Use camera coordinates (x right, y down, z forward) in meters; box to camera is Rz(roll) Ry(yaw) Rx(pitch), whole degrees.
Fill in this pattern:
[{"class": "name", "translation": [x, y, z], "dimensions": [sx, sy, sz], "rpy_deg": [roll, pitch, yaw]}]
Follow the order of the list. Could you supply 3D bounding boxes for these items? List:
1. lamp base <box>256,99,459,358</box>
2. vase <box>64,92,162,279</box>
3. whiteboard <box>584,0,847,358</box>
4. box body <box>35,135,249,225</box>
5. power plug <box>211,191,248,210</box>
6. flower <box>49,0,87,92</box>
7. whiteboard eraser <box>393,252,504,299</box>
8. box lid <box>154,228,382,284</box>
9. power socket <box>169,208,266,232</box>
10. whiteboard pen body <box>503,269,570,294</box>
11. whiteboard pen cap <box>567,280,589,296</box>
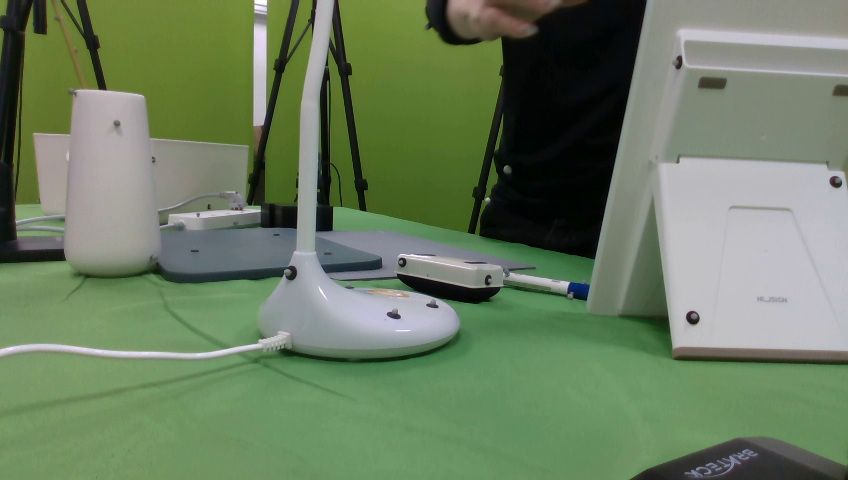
[{"class": "lamp base", "translation": [-0.055, -0.013, 0.463], "dimensions": [0.160, 0.180, 0.180], "rpy_deg": [6, 11, 27]}, {"class": "vase", "translation": [-0.348, -0.060, 0.673], "dimensions": [0.098, 0.200, 0.098], "rpy_deg": [1, 7, 0]}, {"class": "whiteboard", "translation": [0.269, -0.034, 0.466], "dimensions": [0.217, 0.305, 0.143], "rpy_deg": [2, 27, -1]}, {"class": "box body", "translation": [-0.561, -0.127, 1.258], "dimensions": [0.254, 0.160, 0.365], "rpy_deg": [4, 8, 13]}, {"class": "power plug", "translation": [-0.384, -0.071, 1.205], "dimensions": [0.072, 0.052, 0.035], "rpy_deg": [1, 7, 27]}, {"class": "flower", "translation": [-0.361, -0.141, 0.659], "dimensions": [0.038, 0.361, 0.044], "rpy_deg": [-13, 11, 11]}, {"class": "whiteboard eraser", "translation": [0.024, 0.036, 0.637], "dimensions": [0.112, 0.042, 0.056], "rpy_deg": [8, 7, 42]}, {"class": "box lid", "translation": [-0.250, 0.014, 0.853], "dimensions": [0.265, 0.015, 0.369], "rpy_deg": [-3, 9, -32]}, {"class": "power socket", "translation": [-0.379, -0.038, 1.129], "dimensions": [0.072, 0.032, 0.227], "rpy_deg": [4, 8, 18]}, {"class": "whiteboard pen body", "translation": [0.123, 0.046, 0.680], "dimensions": [0.140, 0.017, 0.017], "rpy_deg": [8, 9, 30]}, {"class": "whiteboard pen cap", "translation": [0.171, 0.052, 0.648], "dimensions": [0.033, 0.018, 0.018], "rpy_deg": [9, 10, 31]}]
